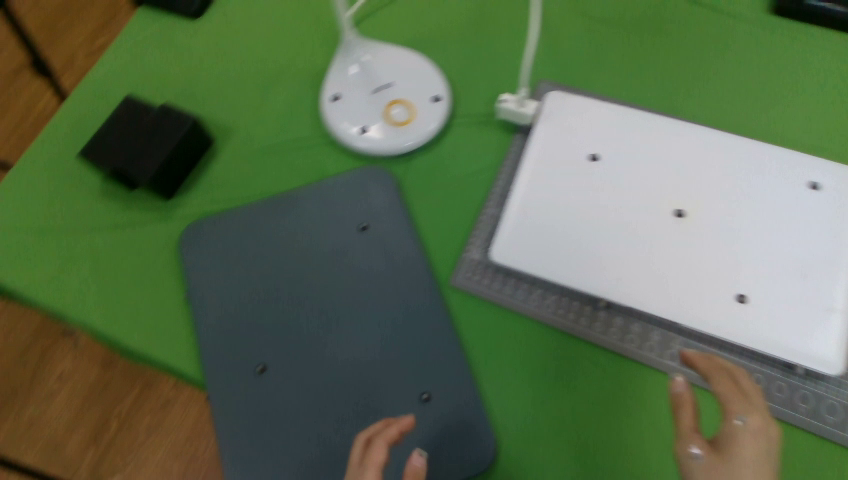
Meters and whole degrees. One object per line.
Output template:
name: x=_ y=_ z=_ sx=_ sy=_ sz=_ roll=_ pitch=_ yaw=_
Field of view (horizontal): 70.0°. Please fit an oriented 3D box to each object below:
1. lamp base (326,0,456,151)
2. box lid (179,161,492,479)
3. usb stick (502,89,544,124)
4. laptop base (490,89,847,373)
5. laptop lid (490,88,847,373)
lamp base: x=-0.055 y=-0.219 z=0.680 sx=0.160 sy=0.182 sz=0.177 roll=-36 pitch=65 yaw=-11
box lid: x=-0.107 y=0.095 z=0.639 sx=0.263 sy=0.015 sz=0.368 roll=-18 pitch=66 yaw=-4
usb stick: x=0.123 y=-0.154 z=0.711 sx=0.059 sy=0.027 sz=0.021 roll=23 pitch=65 yaw=11
laptop base: x=0.273 y=-0.024 z=0.654 sx=0.353 sy=0.023 sz=0.234 roll=19 pitch=72 yaw=12
laptop lid: x=0.271 y=-0.027 z=0.643 sx=0.355 sy=0.013 sz=0.240 roll=20 pitch=72 yaw=13
